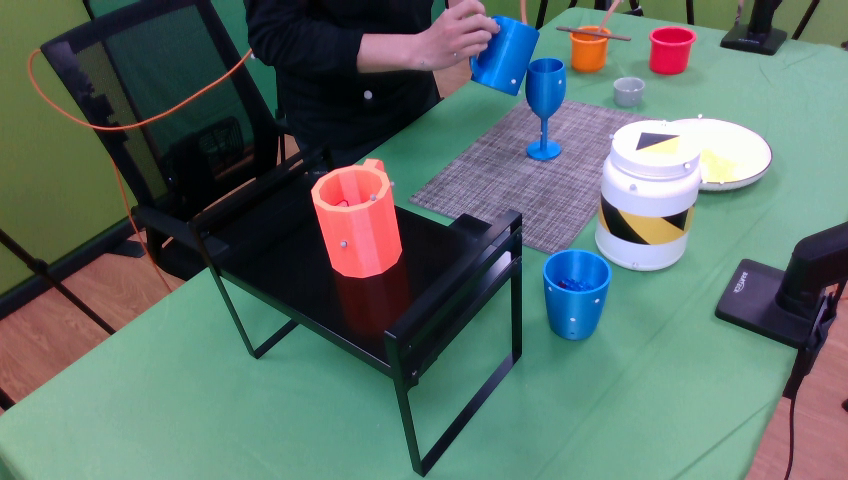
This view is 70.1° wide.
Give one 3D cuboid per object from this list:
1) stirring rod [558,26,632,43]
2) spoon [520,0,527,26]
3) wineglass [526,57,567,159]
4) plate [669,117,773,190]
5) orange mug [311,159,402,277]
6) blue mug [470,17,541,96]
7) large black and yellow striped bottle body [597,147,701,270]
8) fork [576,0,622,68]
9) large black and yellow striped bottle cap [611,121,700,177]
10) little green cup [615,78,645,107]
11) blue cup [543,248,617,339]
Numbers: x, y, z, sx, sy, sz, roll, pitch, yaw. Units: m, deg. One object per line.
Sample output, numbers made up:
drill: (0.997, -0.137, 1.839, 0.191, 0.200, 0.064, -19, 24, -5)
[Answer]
stirring rod: (0.381, -0.462, 1.356, 0.175, 0.006, 0.014, 23, 48, 29)
spoon: (0.161, -0.380, 0.969, 0.021, 0.194, 0.041, -1, 24, 0)
wineglass: (0.221, -0.237, 1.097, 0.074, 0.173, 0.073, -4, 41, 4)
plate: (0.495, -0.148, 1.063, 0.209, 0.038, 0.208, -5, 40, 4)
orange mug: (-0.070, -0.034, 0.694, 0.083, 0.101, 0.126, 5, 46, 16)
blue mug: (0.121, -0.302, 0.982, 0.117, 0.106, 0.081, 8, 19, -40)
large black and yellow striped bottle body: (0.323, -0.062, 0.877, 0.131, 0.185, 0.130, -5, 40, 4)
fork: (0.409, -0.484, 1.381, 0.028, 0.019, 0.207, 37, 101, 46)
large black and yellow striped bottle cap: (0.315, -0.126, 0.823, 0.115, 0.019, 0.114, -4, 42, 4)
little green cup: (0.426, -0.306, 1.257, 0.061, 0.039, 0.061, -4, 40, 4)
blue cup: (0.199, 0.076, 0.797, 0.092, 0.100, 0.092, -4, 39, 4)
